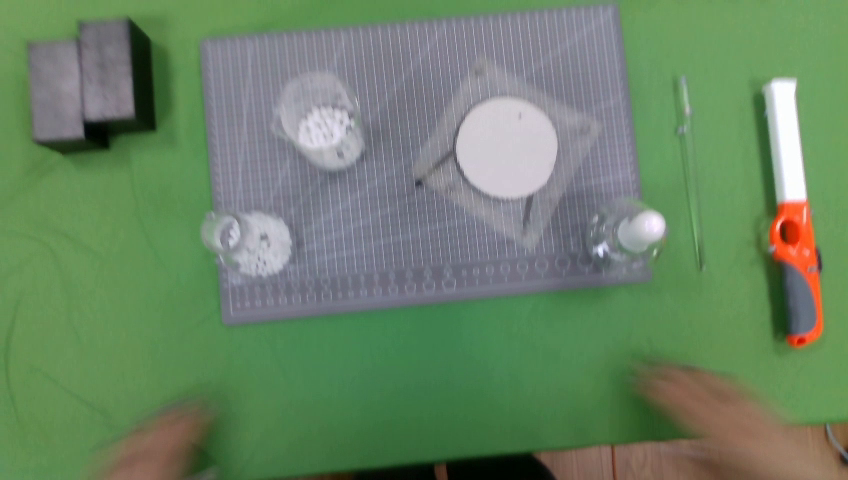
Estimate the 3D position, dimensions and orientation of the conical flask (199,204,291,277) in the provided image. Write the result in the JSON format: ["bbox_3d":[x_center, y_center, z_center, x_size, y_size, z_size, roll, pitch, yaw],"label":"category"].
[{"bbox_3d":[-0.173,-0.004,0.571,0.075,0.122,0.075,0,85,-2],"label":"conical flask"}]

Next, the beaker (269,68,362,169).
[{"bbox_3d":[-0.101,-0.112,0.593,0.084,0.100,0.074,-22,86,-3],"label":"beaker"}]

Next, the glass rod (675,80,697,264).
[{"bbox_3d":[0.282,-0.073,0.651,0.008,0.008,0.199,-4,88,-2],"label":"glass rod"}]

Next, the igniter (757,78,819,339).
[{"bbox_3d":[0.385,-0.035,0.641,0.057,0.025,0.276,-3,86,-13],"label":"igniter"}]

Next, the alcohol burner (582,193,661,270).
[{"bbox_3d":[0.196,-0.010,0.588,0.078,0.119,0.077,0,85,1],"label":"alcohol burner"}]

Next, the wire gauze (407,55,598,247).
[{"bbox_3d":[0.067,-0.078,0.511,0.125,0.011,0.121,31,87,1],"label":"wire gauze"}]

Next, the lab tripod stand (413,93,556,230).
[{"bbox_3d":[0.062,-0.074,0.578,0.148,0.131,0.148,0,87,0],"label":"lab tripod stand"}]

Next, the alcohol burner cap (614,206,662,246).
[{"bbox_3d":[0.198,-0.015,0.552,0.034,0.048,0.033,1,79,-4],"label":"alcohol burner cap"}]
